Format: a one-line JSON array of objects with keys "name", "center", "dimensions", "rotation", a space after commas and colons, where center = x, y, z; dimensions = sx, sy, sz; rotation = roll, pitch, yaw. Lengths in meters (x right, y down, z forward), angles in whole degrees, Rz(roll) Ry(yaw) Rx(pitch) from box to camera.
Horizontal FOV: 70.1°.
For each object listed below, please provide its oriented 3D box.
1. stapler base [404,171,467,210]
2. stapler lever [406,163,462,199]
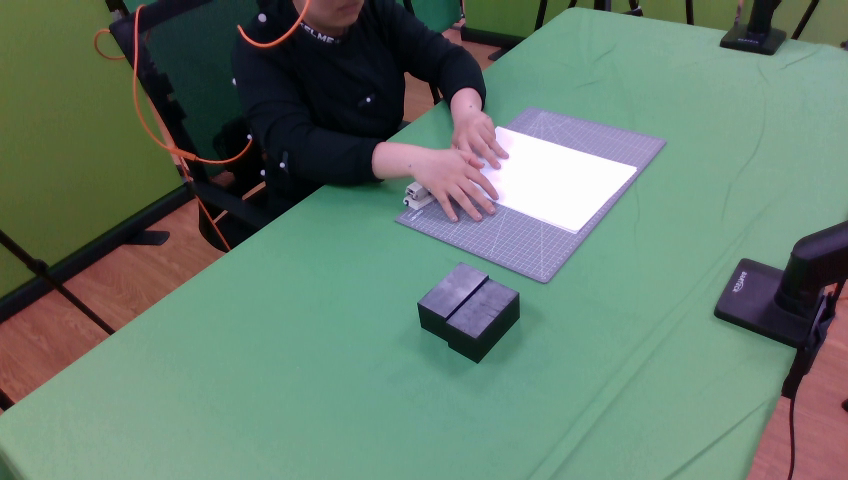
[{"name": "stapler base", "center": [0.022, -0.099, 1.087], "dimensions": [0.131, 0.024, 0.041], "rotation": [-35, 45, -27]}, {"name": "stapler lever", "center": [0.021, -0.107, 1.080], "dimensions": [0.119, 0.040, 0.026], "rotation": [-22, 38, -37]}]
